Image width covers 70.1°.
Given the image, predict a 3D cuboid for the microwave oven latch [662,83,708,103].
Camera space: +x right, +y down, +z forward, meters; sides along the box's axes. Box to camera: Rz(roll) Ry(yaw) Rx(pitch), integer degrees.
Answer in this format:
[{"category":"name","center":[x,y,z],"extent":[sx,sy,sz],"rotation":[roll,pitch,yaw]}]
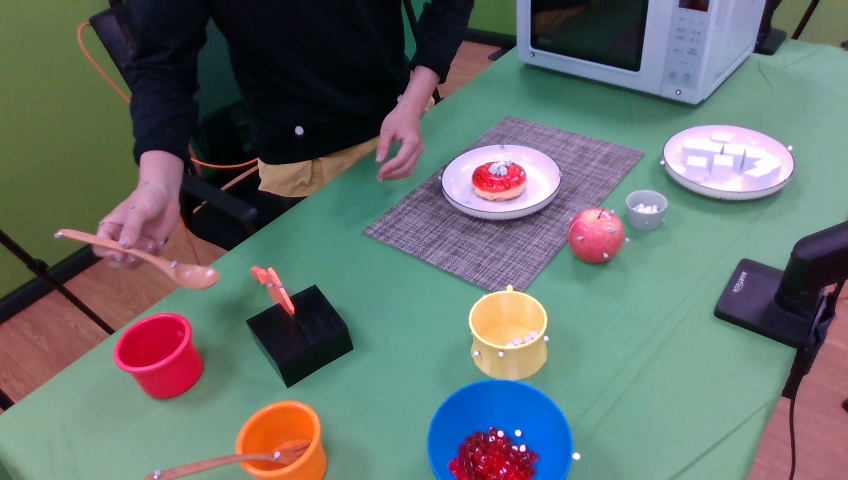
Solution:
[{"category":"microwave oven latch","center":[0.518,-0.296,1.204],"extent":[0.078,0.029,0.030],"rotation":[27,52,35]}]

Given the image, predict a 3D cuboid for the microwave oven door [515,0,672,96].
[{"category":"microwave oven door","center":[0.344,-0.455,1.259],"extent":[0.353,0.245,0.039],"rotation":[26,51,33]}]

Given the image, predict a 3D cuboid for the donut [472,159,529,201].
[{"category":"donut","center":[0.132,-0.105,1.043],"extent":[0.099,0.048,0.098],"rotation":[-5,38,4]}]

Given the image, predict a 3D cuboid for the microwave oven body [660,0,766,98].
[{"category":"microwave oven body","center":[0.472,-0.513,1.317],"extent":[0.438,0.261,0.327],"rotation":[26,51,34]}]

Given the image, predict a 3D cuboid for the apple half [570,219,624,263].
[{"category":"apple half","center":[0.250,0.010,0.885],"extent":[0.081,0.081,0.033],"rotation":[7,39,17]}]

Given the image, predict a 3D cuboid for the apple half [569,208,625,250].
[{"category":"apple half","center":[0.262,-0.014,0.913],"extent":[0.080,0.075,0.053],"rotation":[4,37,20]}]

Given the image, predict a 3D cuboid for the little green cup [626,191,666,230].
[{"category":"little green cup","center":[0.352,-0.046,0.963],"extent":[0.061,0.039,0.061],"rotation":[-4,40,4]}]

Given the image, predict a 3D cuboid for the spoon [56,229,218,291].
[{"category":"spoon","center":[-0.353,0.022,0.750],"extent":[0.194,0.021,0.041],"rotation":[24,38,-13]}]

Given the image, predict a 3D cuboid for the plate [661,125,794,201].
[{"category":"plate","center":[0.513,-0.128,1.035],"extent":[0.207,0.039,0.206],"rotation":[-4,40,4]}]

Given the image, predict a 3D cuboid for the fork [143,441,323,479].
[{"category":"fork","center":[-0.189,0.231,0.631],"extent":[0.028,0.018,0.209],"rotation":[35,13,37]}]

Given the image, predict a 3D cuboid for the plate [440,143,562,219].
[{"category":"plate","center":[0.134,-0.098,1.052],"extent":[0.209,0.038,0.208],"rotation":[-4,40,4]}]

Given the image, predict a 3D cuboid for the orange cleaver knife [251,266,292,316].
[{"category":"orange cleaver knife","center":[-0.221,0.071,0.873],"extent":[0.012,0.077,0.210],"rotation":[-25,11,-21]}]

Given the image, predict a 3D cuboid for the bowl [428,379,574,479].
[{"category":"bowl","center":[0.082,0.233,0.644],"extent":[0.151,0.077,0.150],"rotation":[-4,39,4]}]

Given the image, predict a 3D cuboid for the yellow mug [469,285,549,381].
[{"category":"yellow mug","center":[0.112,0.112,0.792],"extent":[0.100,0.064,0.130],"rotation":[0,40,9]}]
